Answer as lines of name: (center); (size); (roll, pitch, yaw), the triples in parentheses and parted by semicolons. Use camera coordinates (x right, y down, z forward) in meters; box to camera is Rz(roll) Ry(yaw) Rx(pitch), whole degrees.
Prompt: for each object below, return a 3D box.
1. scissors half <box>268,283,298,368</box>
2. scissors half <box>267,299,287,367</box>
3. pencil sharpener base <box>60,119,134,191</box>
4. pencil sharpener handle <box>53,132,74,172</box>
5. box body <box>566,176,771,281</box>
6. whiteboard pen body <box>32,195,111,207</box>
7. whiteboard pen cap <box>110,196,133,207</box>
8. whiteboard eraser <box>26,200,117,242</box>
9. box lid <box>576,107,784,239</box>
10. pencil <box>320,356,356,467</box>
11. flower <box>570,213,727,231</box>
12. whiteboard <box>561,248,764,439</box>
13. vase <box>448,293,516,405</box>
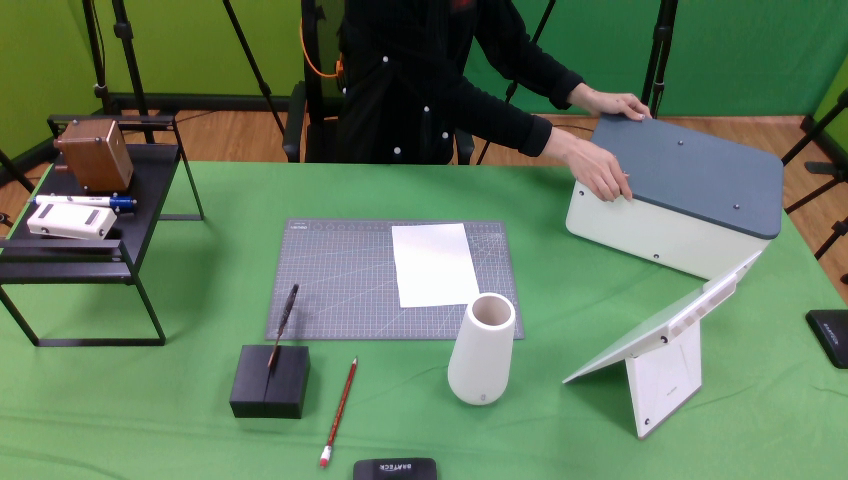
scissors half: (-0.230, 0.135, 0.986); (0.013, 0.040, 0.174); (19, 43, -11)
scissors half: (-0.238, 0.150, 0.997); (0.013, 0.040, 0.174); (23, 24, -13)
pencil sharpener base: (-0.528, -0.135, 0.979); (0.077, 0.107, 0.061); (-4, 47, -7)
pencil sharpener handle: (-0.578, -0.138, 0.961); (0.031, 0.068, 0.036); (-4, 34, -7)
box body: (0.492, -0.089, 1.220); (0.363, 0.161, 0.253); (20, 48, 14)
whiteboard pen body: (-0.543, -0.061, 0.961); (0.141, 0.017, 0.017); (1, 46, -10)
whiteboard pen cap: (-0.486, -0.061, 0.972); (0.033, 0.018, 0.018); (0, 46, -9)
whiteboard eraser: (-0.532, -0.026, 0.919); (0.113, 0.042, 0.055); (7, 45, 3)
box lid: (0.498, -0.139, 1.166); (0.371, 0.015, 0.262); (20, 48, 14)
pencil: (-0.130, 0.261, 0.946); (0.012, 0.012, 0.193); (10, 45, 5)
flower: (0.479, -0.039, 1.270); (0.362, 0.038, 0.044); (-1, 15, -13)
whiteboard: (0.386, 0.176, 0.905); (0.217, 0.306, 0.143); (-26, 72, -27)
vase: (0.091, 0.169, 0.921); (0.098, 0.201, 0.097); (3, 47, -3)
